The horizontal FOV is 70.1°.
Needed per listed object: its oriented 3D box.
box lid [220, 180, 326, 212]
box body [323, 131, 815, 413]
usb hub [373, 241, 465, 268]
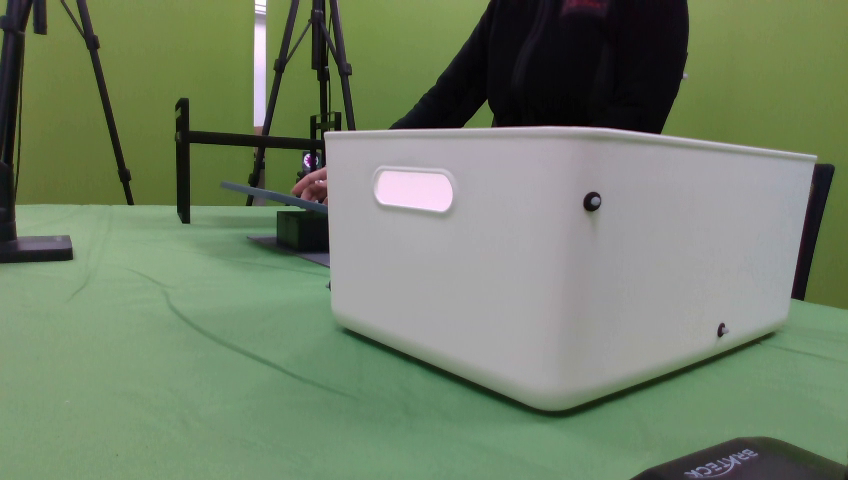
[{"bbox_3d":[-0.121,-0.040,0.991,0.374,0.015,0.262,13,1,-36],"label":"box lid"},{"bbox_3d":[0.125,0.000,0.510,0.366,0.160,0.253,-4,9,-40],"label":"box body"},{"bbox_3d":[-0.005,0.018,0.826,0.126,0.025,0.049,-3,9,-39],"label":"usb hub"}]
